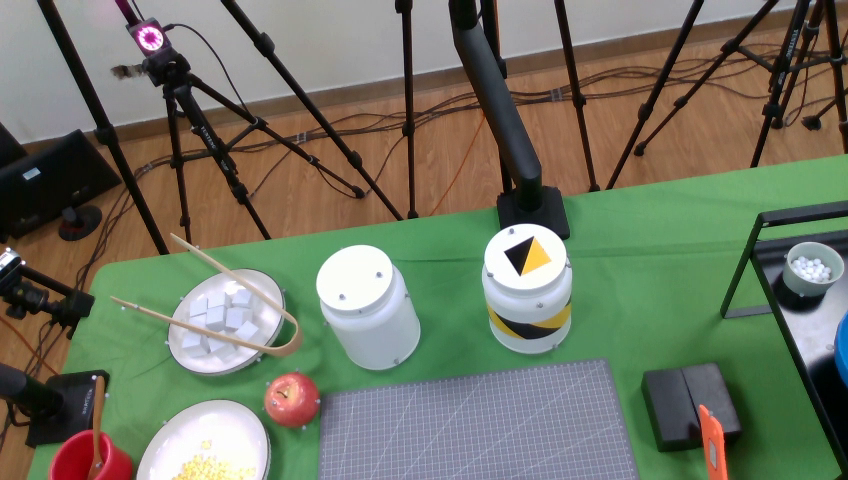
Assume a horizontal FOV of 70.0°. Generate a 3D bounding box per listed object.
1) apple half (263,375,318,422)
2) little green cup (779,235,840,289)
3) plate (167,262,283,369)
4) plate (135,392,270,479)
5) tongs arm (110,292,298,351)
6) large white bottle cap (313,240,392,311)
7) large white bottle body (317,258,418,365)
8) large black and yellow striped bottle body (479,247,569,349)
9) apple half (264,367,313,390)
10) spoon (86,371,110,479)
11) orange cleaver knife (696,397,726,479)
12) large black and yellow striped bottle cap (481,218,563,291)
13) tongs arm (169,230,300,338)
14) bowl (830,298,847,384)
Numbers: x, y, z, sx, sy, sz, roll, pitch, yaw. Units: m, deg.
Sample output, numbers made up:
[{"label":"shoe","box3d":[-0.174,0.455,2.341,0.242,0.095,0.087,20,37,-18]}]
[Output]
[{"label":"apple half","box3d":[-0.200,0.250,0.929,0.081,0.075,0.053,-18,57,-6]},{"label":"little green cup","box3d":[0.469,0.029,0.742,0.061,0.039,0.061,-6,54,9]},{"label":"plate","box3d":[-0.344,0.134,1.065,0.207,0.039,0.205,-6,54,8]},{"label":"plate","box3d":[-0.328,0.335,0.914,0.209,0.038,0.207,-6,54,8]},{"label":"tongs arm","box3d":[-0.387,0.128,1.038,0.382,0.027,0.050,14,55,24]},{"label":"large white bottle cap","box3d":[-0.104,0.050,0.876,0.114,0.018,0.113,-6,53,8]},{"label":"large white bottle body","box3d":[-0.088,0.100,0.944,0.130,0.186,0.129,-6,53,8]},{"label":"large black and yellow striped bottle body","box3d":[0.153,0.069,0.916,0.130,0.186,0.129,-6,53,8]},{"label":"apple half","box3d":[-0.213,0.221,0.951,0.081,0.082,0.032,-21,58,-3]},{"label":"spoon","box3d":[-0.492,0.292,0.913,0.041,0.021,0.194,8,101,18]},{"label":"orange cleaver knife","box3d":[0.368,0.306,0.758,0.012,0.077,0.210,-9,84,5]},{"label":"large black and yellow striped bottle cap","box3d":[0.138,0.018,0.850,0.115,0.019,0.114,-5,55,7]},{"label":"tongs arm","box3d":[-0.345,0.067,1.076,0.384,0.028,0.028,28,58,31]},{"label":"bowl","box3d":[0.503,0.128,0.638,0.151,0.077,0.150,-6,53,8]}]
